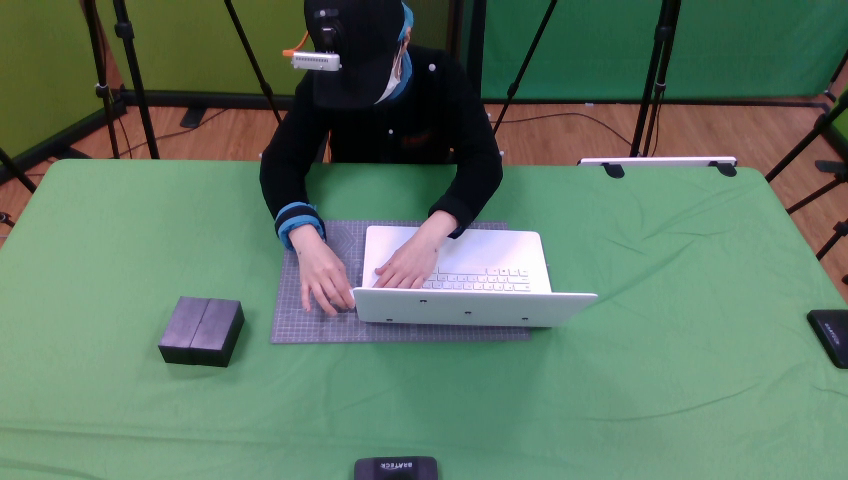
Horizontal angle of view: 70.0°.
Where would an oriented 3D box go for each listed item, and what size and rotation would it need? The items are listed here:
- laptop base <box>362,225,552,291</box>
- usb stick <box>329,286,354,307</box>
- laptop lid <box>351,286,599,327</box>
[{"bbox_3d":[0.061,0.063,1.145,0.354,0.023,0.234,2,43,-3],"label":"laptop base"},{"bbox_3d":[-0.135,0.101,1.068,0.059,0.027,0.021,14,44,-9],"label":"usb stick"},{"bbox_3d":[0.068,0.109,0.952,0.357,0.242,0.013,2,71,-4],"label":"laptop lid"}]
